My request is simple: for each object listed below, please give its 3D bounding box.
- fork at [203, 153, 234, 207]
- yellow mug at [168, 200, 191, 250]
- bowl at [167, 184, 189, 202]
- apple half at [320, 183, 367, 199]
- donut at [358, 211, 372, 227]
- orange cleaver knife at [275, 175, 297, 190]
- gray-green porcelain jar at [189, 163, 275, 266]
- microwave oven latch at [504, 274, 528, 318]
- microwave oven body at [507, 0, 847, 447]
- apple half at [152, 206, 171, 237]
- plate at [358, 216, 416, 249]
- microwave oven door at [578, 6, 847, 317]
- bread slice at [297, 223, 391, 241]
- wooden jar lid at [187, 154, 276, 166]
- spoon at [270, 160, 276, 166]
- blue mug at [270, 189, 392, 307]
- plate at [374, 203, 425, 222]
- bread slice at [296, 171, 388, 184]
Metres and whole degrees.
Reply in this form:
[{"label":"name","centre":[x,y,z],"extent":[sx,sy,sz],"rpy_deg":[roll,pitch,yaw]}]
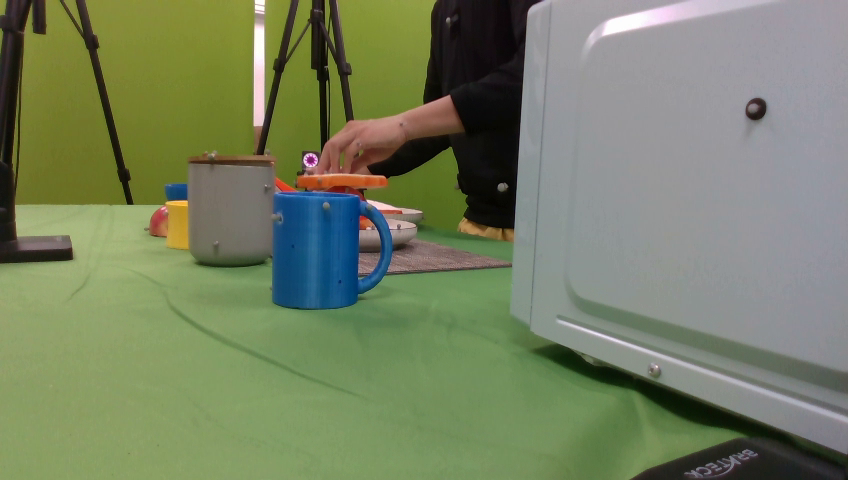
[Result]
[{"label":"fork","centre":[-0.480,-0.134,1.411],"extent":[0.028,0.018,0.207],"rpy_deg":[1,-35,0]},{"label":"yellow mug","centre":[-0.320,-0.023,0.904],"extent":[0.130,0.064,0.100],"rpy_deg":[8,10,36]},{"label":"bowl","centre":[-0.408,-0.064,1.154],"extent":[0.151,0.077,0.151],"rpy_deg":[2,8,0]},{"label":"apple half","centre":[-0.128,-0.076,0.949],"extent":[0.081,0.033,0.081],"rpy_deg":[2,13,0]},{"label":"donut","centre":[-0.129,-0.041,0.956],"extent":[0.099,0.048,0.099],"rpy_deg":[2,6,0]},{"label":"orange cleaver knife","centre":[-0.283,-0.087,1.343],"extent":[0.212,0.077,0.012],"rpy_deg":[24,-16,-41]},{"label":"gray-green porcelain jar","centre":[-0.246,-0.034,0.780],"extent":[0.106,0.126,0.106],"rpy_deg":[2,7,0]},{"label":"microwave oven latch","centre":[0.100,0.041,0.471],"extent":[0.079,0.029,0.030],"rpy_deg":[-1,8,-28]},{"label":"microwave oven body","centre":[0.331,-0.042,0.425],"extent":[0.444,0.260,0.324],"rpy_deg":[-2,8,-31]},{"label":"apple half","centre":[-0.415,-0.034,1.017],"extent":[0.081,0.053,0.074],"rpy_deg":[1,10,-8]},{"label":"plate","centre":[-0.116,-0.014,0.967],"extent":[0.208,0.039,0.207],"rpy_deg":[2,7,0]},{"label":"microwave oven door","centre":[0.294,-0.067,0.570],"extent":[0.358,0.243,0.039],"rpy_deg":[-3,9,-31]},{"label":"bread slice","centre":[-0.121,-0.014,0.970],"extent":[0.106,0.018,0.135],"rpy_deg":[9,9,40]},{"label":"wooden jar lid","centre":[-0.244,-0.097,0.771],"extent":[0.108,0.020,0.108],"rpy_deg":[-1,7,0]},{"label":"spoon","centre":[-0.396,-0.150,1.548],"extent":[0.042,0.193,0.021],"rpy_deg":[3,-37,-4]},{"label":"blue mug","centre":[-0.089,0.005,0.588],"extent":[0.117,0.106,0.082],"rpy_deg":[1,7,-10]},{"label":"plate","centre":[-0.102,-0.053,1.299],"extent":[0.209,0.038,0.209],"rpy_deg":[2,8,0]},{"label":"bread slice","centre":[-0.133,-0.098,0.955],"extent":[0.132,0.019,0.104],"rpy_deg":[-4,5,-24]}]
